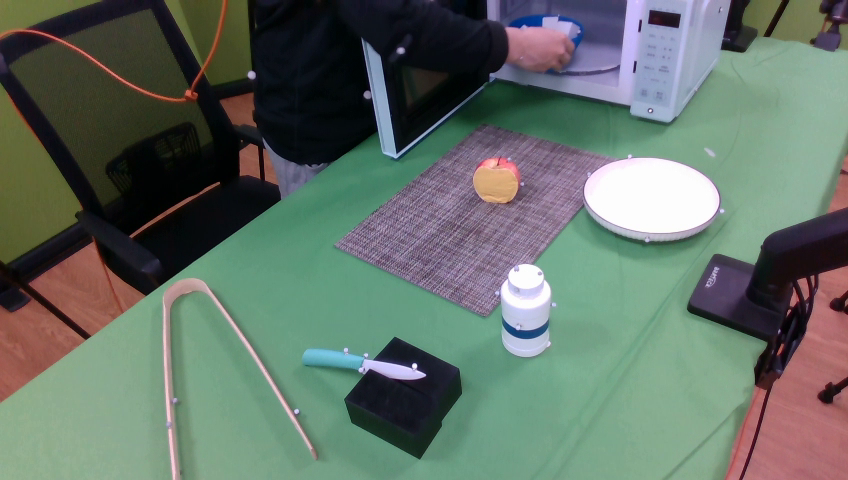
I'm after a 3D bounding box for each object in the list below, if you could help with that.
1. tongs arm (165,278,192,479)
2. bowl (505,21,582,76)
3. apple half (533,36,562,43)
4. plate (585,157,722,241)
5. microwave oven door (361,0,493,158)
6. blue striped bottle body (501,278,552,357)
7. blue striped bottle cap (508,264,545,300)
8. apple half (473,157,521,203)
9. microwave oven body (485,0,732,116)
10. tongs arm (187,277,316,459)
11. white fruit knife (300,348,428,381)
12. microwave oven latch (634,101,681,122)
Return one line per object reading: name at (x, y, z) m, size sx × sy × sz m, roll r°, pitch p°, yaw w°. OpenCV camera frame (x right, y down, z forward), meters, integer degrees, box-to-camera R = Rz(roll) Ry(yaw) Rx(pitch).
tongs arm at (-0.313, 0.182, 0.789) m, size 0.051 × 0.026 × 0.381 m, roll -19°, pitch 41°, yaw -14°
bowl at (0.237, -0.380, 1.214) m, size 0.151 × 0.077 × 0.150 m, roll -2°, pitch 35°, yaw 2°
apple half at (0.241, -0.387, 1.210) m, size 0.081 × 0.033 × 0.081 m, roll -12°, pitch 42°, yaw 12°
plate at (0.367, -0.063, 0.979) m, size 0.207 × 0.039 × 0.206 m, roll -4°, pitch 41°, yaw 4°
microwave oven door at (0.022, -0.352, 1.183) m, size 0.039 × 0.245 × 0.356 m, roll 21°, pitch 48°, yaw 30°
blue striped bottle body at (0.129, 0.089, 0.769) m, size 0.063 × 0.121 × 0.063 m, roll -4°, pitch 40°, yaw 4°
blue striped bottle cap at (0.125, 0.051, 0.735) m, size 0.044 × 0.021 × 0.044 m, roll -6°, pitch 38°, yaw 5°
apple half at (0.128, -0.106, 1.030) m, size 0.080 × 0.075 × 0.053 m, roll 4°, pitch 38°, yaw 19°
microwave oven body at (0.377, -0.463, 1.267) m, size 0.438 × 0.261 × 0.327 m, roll 21°, pitch 49°, yaw 30°
tongs arm at (-0.240, 0.154, 0.815) m, size 0.028 × 0.028 × 0.384 m, roll -31°, pitch 46°, yaw -21°
white fruit knife at (-0.079, 0.154, 0.748) m, size 0.206 × 0.027 × 0.016 m, roll 1°, pitch 21°, yaw 34°
microwave oven latch at (0.446, -0.251, 1.158) m, size 0.078 × 0.029 × 0.030 m, roll 27°, pitch 52°, yaw 34°
